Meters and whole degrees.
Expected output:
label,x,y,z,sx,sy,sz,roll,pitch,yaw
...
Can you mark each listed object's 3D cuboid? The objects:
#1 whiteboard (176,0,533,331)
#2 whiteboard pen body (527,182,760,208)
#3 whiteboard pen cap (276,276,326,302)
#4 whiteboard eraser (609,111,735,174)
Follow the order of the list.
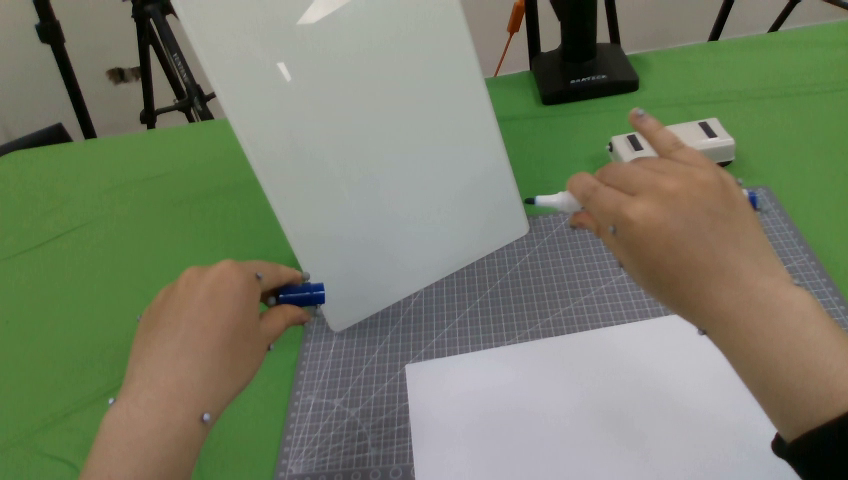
label,x,y,z,sx,sy,sz,roll,pitch,yaw
whiteboard,-0.061,-0.114,0.567,0.217,0.308,0.142,-27,23,-14
whiteboard pen body,0.137,-0.029,0.388,0.140,0.017,0.017,1,44,13
whiteboard pen cap,-0.085,0.034,0.420,0.033,0.018,0.018,-1,39,-18
whiteboard eraser,0.253,-0.098,0.622,0.112,0.042,0.055,-9,44,3
